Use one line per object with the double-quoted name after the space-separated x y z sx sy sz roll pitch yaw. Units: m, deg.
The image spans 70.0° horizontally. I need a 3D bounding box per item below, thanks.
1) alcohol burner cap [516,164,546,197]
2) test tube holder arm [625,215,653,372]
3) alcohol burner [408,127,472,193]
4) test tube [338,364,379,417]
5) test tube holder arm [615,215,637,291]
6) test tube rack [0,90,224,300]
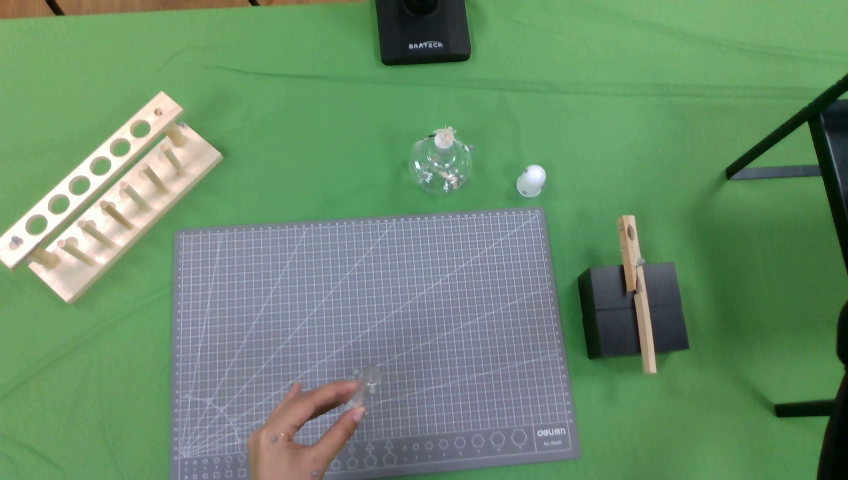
0.135 -0.076 0.751 0.034 0.048 0.033 1 73 -4 "alcohol burner cap"
0.240 0.058 0.682 0.013 0.015 0.177 1 75 -16 "test tube holder arm"
0.021 -0.100 0.713 0.078 0.119 0.077 1 73 -4 "alcohol burner"
-0.060 0.137 0.539 0.017 0.151 0.017 7 62 -13 "test tube"
0.232 0.015 0.692 0.010 0.015 0.087 0 75 -16 "test tube holder arm"
-0.349 -0.050 0.689 0.066 0.085 0.242 40 76 8 "test tube rack"
